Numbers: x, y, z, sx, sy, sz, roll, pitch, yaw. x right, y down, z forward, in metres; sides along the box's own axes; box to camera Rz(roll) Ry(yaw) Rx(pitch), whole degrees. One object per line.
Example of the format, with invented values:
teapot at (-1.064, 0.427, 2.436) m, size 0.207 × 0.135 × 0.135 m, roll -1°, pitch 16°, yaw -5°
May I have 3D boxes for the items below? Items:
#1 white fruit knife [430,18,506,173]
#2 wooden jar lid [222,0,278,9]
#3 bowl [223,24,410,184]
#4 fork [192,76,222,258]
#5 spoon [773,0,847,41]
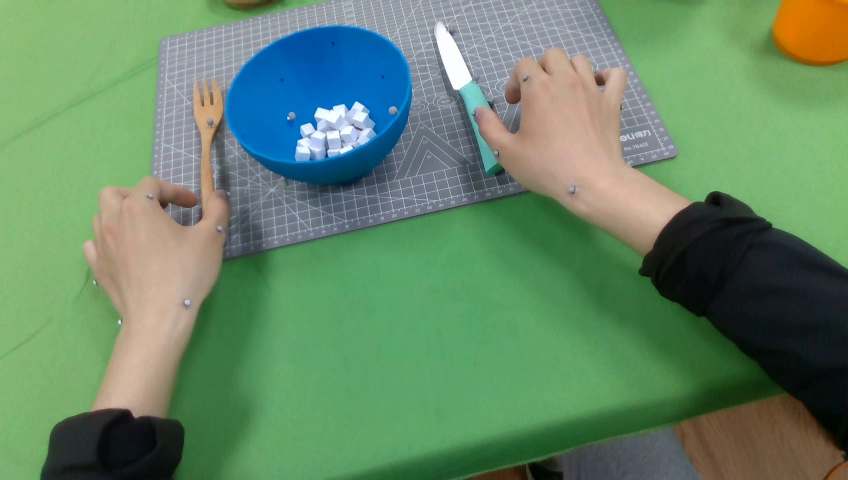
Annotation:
white fruit knife at (0.036, -0.141, 0.554) m, size 0.027 × 0.016 × 0.205 m, roll -8°, pitch 57°, yaw -14°
wooden jar lid at (-0.190, -0.298, 0.681) m, size 0.108 × 0.021 × 0.107 m, roll -2°, pitch 59°, yaw 4°
bowl at (-0.081, -0.100, 0.510) m, size 0.151 × 0.077 × 0.150 m, roll -3°, pitch 59°, yaw 6°
fork at (-0.194, -0.072, 0.543) m, size 0.028 × 0.019 × 0.205 m, roll -10°, pitch 56°, yaw -6°
spoon at (0.381, -0.225, 0.485) m, size 0.022 × 0.194 × 0.041 m, roll 16°, pitch 56°, yaw -35°
